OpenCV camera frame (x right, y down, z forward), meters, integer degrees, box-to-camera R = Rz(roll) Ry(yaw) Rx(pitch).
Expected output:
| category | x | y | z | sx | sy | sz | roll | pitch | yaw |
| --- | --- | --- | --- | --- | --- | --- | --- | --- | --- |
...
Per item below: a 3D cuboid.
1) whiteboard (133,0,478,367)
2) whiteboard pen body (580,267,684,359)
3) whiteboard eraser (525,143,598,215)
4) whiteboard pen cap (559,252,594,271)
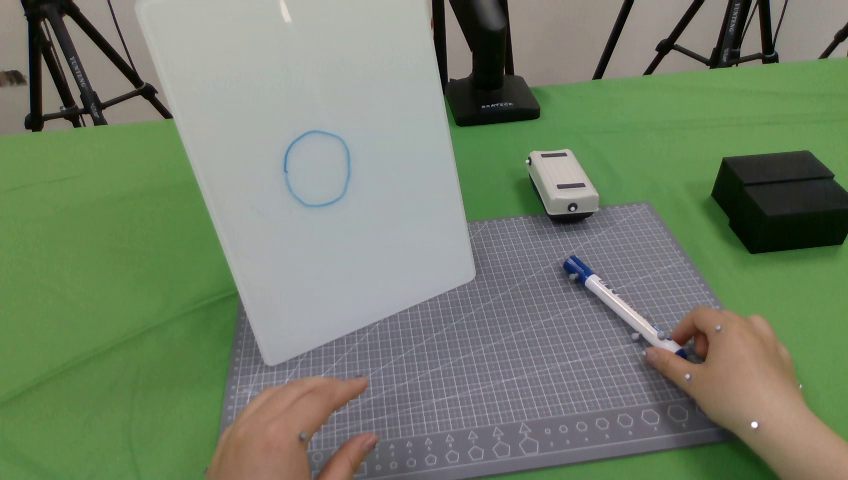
| category | x | y | z | sx | sy | sz | roll | pitch | yaw |
| --- | --- | --- | --- | --- | --- | --- | --- | --- | --- |
| whiteboard | -0.100 | -0.083 | 0.555 | 0.217 | 0.307 | 0.142 | -21 | 25 | -20 |
| whiteboard pen body | 0.181 | 0.057 | 0.554 | 0.017 | 0.017 | 0.139 | -21 | 43 | -20 |
| whiteboard eraser | 0.154 | -0.070 | 0.687 | 0.055 | 0.042 | 0.111 | -7 | 37 | -2 |
| whiteboard pen cap | 0.149 | 0.022 | 0.593 | 0.033 | 0.018 | 0.018 | 12 | 42 | 10 |
